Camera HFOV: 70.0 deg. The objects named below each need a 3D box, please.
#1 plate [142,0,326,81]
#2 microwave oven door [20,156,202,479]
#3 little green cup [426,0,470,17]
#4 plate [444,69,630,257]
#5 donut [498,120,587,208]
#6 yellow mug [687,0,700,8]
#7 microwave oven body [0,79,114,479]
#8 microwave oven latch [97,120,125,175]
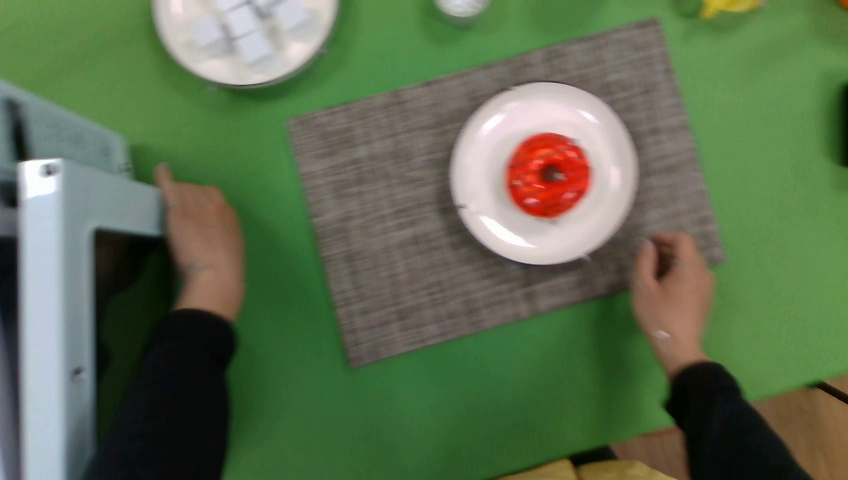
[{"bbox_3d":[-0.213,-0.282,0.693,0.208,0.039,0.207,0,89,0],"label":"plate"},{"bbox_3d":[-0.279,0.116,0.566,0.039,0.244,0.355,-4,89,0],"label":"microwave oven door"},{"bbox_3d":[0.028,-0.289,0.694,0.061,0.038,0.061,0,88,0],"label":"little green cup"},{"bbox_3d":[0.125,-0.085,0.686,0.209,0.038,0.209,0,89,0],"label":"plate"},{"bbox_3d":[0.131,-0.084,0.675,0.099,0.048,0.099,0,89,3],"label":"donut"},{"bbox_3d":[0.337,-0.320,0.680,0.100,0.064,0.131,32,90,1],"label":"yellow mug"},{"bbox_3d":[-0.459,0.113,0.571,0.326,0.260,0.441,-13,89,-1],"label":"microwave oven body"},{"bbox_3d":[-0.354,-0.090,0.671,0.030,0.029,0.079,-14,90,-1],"label":"microwave oven latch"}]
